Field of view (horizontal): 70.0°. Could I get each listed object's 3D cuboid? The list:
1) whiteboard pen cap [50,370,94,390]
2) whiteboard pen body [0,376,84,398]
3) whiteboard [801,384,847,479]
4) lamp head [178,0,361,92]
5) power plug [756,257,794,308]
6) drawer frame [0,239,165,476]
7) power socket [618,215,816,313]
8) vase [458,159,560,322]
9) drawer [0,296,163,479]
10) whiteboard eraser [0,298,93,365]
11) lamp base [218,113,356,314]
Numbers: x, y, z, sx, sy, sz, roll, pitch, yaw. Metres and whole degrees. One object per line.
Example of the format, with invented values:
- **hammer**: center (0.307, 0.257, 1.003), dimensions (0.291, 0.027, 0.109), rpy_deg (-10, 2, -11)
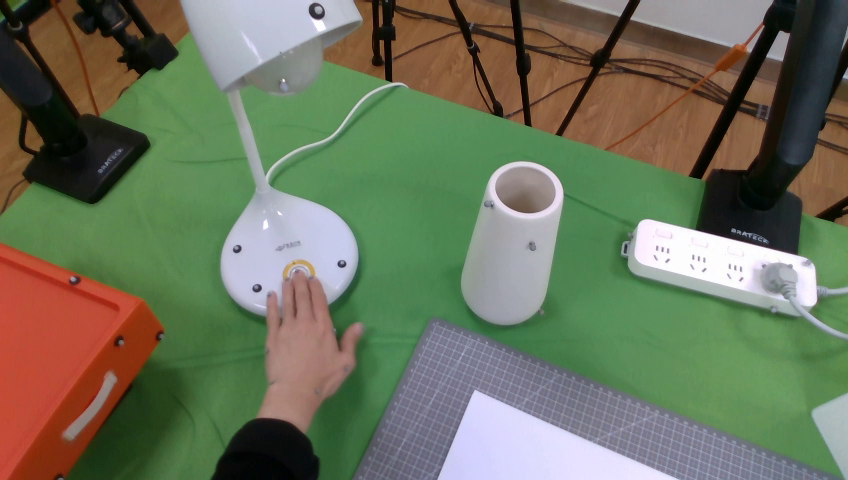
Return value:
- **whiteboard pen cap**: center (-0.334, 0.133, 0.576), dimensions (0.033, 0.018, 0.018), rpy_deg (-6, 56, -9)
- **whiteboard pen body**: center (-0.392, 0.139, 0.564), dimensions (0.141, 0.017, 0.017), rpy_deg (-5, 56, -9)
- **whiteboard**: center (0.536, 0.182, 0.501), dimensions (0.144, 0.307, 0.215), rpy_deg (4, 53, -22)
- **lamp head**: center (-0.119, -0.176, 0.409), dimensions (0.112, 0.112, 0.123), rpy_deg (-35, 102, -22)
- **power plug**: center (0.390, 0.050, 0.683), dimensions (0.035, 0.053, 0.072), rpy_deg (24, 60, 14)
- **drawer frame**: center (-0.399, 0.113, 0.565), dimensions (0.213, 0.083, 0.200), rpy_deg (19, 59, 10)
- **power socket**: center (0.349, 0.028, 0.725), dimensions (0.226, 0.033, 0.071), rpy_deg (15, 58, 8)
- **vase**: center (0.087, 0.005, 0.632), dimensions (0.098, 0.202, 0.097), rpy_deg (0, 55, 0)
- **drawer**: center (-0.393, 0.113, 0.562), dimensions (0.211, 0.074, 0.193), rpy_deg (19, 58, 11)
- **whiteboard eraser**: center (-0.384, 0.095, 0.619), dimensions (0.112, 0.042, 0.055), rpy_deg (-12, 62, 26)
- **lamp base**: center (-0.167, -0.036, 0.662), dimensions (0.161, 0.182, 0.177), rpy_deg (-27, 58, -19)
